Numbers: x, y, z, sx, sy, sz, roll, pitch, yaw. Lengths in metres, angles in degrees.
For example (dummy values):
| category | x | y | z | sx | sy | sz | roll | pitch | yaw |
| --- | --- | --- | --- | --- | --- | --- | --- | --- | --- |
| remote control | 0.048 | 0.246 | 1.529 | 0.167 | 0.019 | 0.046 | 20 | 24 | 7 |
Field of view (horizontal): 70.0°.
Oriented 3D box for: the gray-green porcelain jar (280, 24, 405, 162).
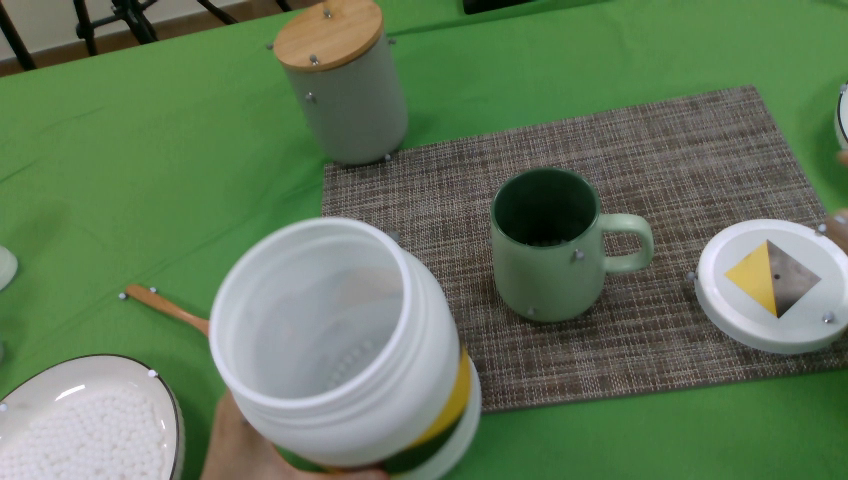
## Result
| category | x | y | z | sx | sy | sz | roll | pitch | yaw |
| --- | --- | --- | --- | --- | --- | --- | --- | --- | --- |
| gray-green porcelain jar | -0.079 | -0.153 | 0.624 | 0.106 | 0.128 | 0.105 | -7 | 50 | 9 |

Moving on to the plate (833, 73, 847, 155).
| category | x | y | z | sx | sy | sz | roll | pitch | yaw |
| --- | --- | --- | --- | --- | --- | --- | --- | --- | --- |
| plate | 0.460 | -0.093 | 0.510 | 0.207 | 0.039 | 0.205 | -6 | 54 | 9 |

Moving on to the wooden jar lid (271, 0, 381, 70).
| category | x | y | z | sx | sy | sz | roll | pitch | yaw |
| --- | --- | --- | --- | --- | --- | --- | --- | --- | --- |
| wooden jar lid | -0.091 | -0.193 | 0.576 | 0.108 | 0.021 | 0.107 | -9 | 52 | 11 |

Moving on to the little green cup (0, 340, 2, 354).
| category | x | y | z | sx | sy | sz | roll | pitch | yaw |
| --- | --- | --- | --- | --- | --- | --- | --- | --- | --- |
| little green cup | -0.444 | 0.106 | 0.582 | 0.061 | 0.039 | 0.061 | -7 | 53 | 9 |

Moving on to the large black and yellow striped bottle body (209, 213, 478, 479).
| category | x | y | z | sx | sy | sz | roll | pitch | yaw |
| --- | --- | --- | --- | --- | --- | --- | --- | --- | --- |
| large black and yellow striped bottle body | -0.041 | 0.076 | 0.383 | 0.130 | 0.186 | 0.129 | -6 | 59 | 10 |

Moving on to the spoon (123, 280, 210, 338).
| category | x | y | z | sx | sy | sz | roll | pitch | yaw |
| --- | --- | --- | --- | --- | --- | --- | --- | --- | --- |
| spoon | -0.221 | 0.069 | 0.565 | 0.192 | 0.022 | 0.041 | 20 | 78 | 25 |

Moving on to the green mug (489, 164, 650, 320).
| category | x | y | z | sx | sy | sz | roll | pitch | yaw |
| --- | --- | --- | --- | --- | --- | --- | --- | --- | --- |
| green mug | 0.112 | 0.003 | 0.478 | 0.125 | 0.106 | 0.091 | -2 | 54 | 12 |

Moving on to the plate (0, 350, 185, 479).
| category | x | y | z | sx | sy | sz | roll | pitch | yaw |
| --- | --- | --- | --- | --- | --- | --- | --- | --- | --- |
| plate | -0.286 | 0.189 | 0.485 | 0.209 | 0.038 | 0.207 | -6 | 54 | 9 |

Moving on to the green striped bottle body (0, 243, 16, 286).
| category | x | y | z | sx | sy | sz | roll | pitch | yaw |
| --- | --- | --- | --- | --- | --- | --- | --- | --- | --- |
| green striped bottle body | -0.486 | 0.003 | 0.614 | 0.063 | 0.120 | 0.062 | -7 | 54 | 9 |

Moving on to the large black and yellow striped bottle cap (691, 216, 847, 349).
| category | x | y | z | sx | sy | sz | roll | pitch | yaw |
| --- | --- | --- | --- | --- | --- | --- | --- | --- | --- |
| large black and yellow striped bottle cap | 0.272 | 0.030 | 0.475 | 0.115 | 0.019 | 0.114 | -7 | 52 | 10 |
